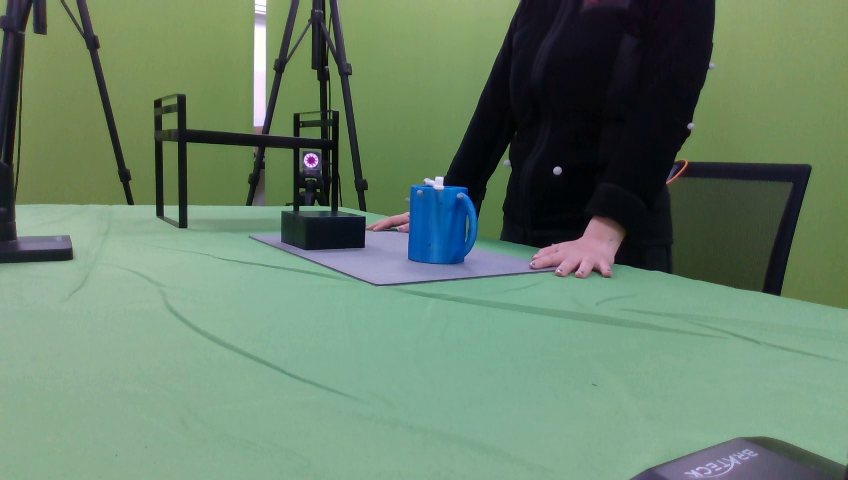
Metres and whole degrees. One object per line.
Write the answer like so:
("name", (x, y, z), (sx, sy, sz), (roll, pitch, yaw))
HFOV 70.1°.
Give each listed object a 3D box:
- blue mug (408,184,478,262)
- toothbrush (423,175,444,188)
("blue mug", (0.030, -0.024, 0.843), (0.083, 0.106, 0.116), (-4, 10, -43))
("toothbrush", (0.012, -0.085, 0.853), (0.014, 0.016, 0.181), (-3, 8, -4))
